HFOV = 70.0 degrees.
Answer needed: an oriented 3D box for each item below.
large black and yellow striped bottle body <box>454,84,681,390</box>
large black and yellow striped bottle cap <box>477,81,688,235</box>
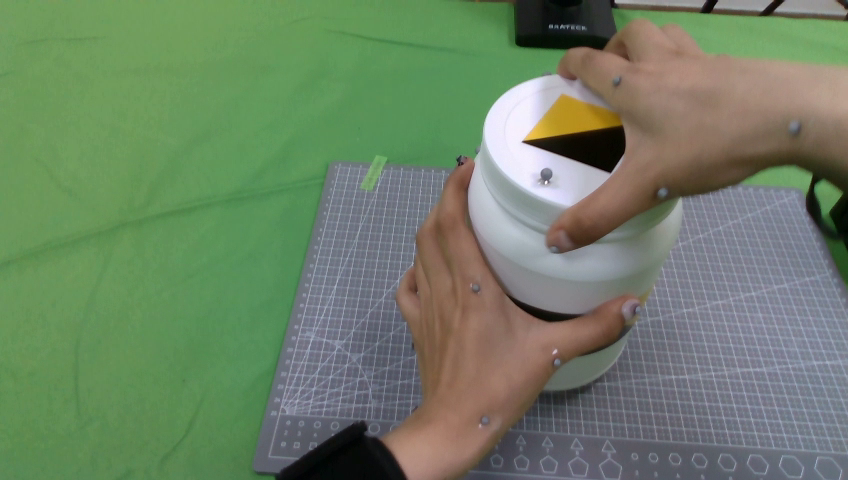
[{"bbox_3d":[0.089,0.003,0.405,0.131,0.185,0.129,0,50,0],"label":"large black and yellow striped bottle body"},{"bbox_3d":[0.087,-0.050,0.340,0.115,0.019,0.114,1,49,-1],"label":"large black and yellow striped bottle cap"}]
